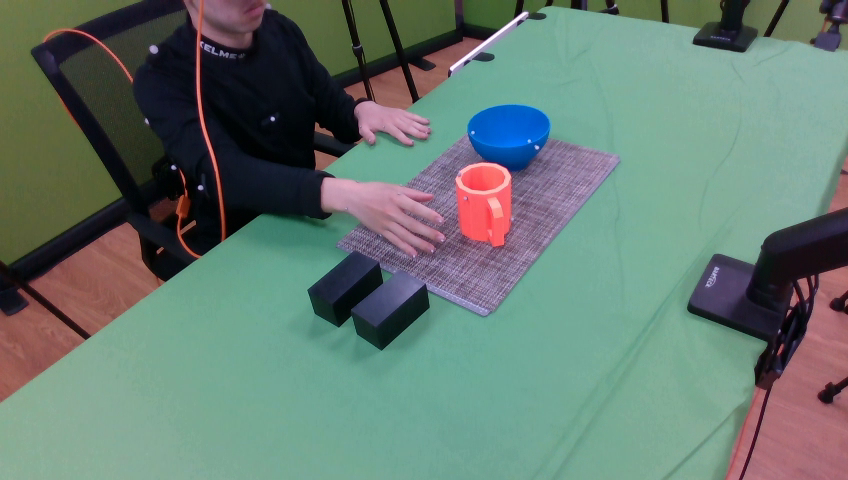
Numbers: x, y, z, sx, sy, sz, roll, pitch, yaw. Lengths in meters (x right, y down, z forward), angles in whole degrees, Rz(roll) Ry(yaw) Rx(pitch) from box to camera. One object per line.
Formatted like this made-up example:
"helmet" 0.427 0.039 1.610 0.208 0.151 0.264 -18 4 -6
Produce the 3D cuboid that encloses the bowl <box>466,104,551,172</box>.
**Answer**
"bowl" 0.155 -0.177 1.105 0.151 0.077 0.150 -4 40 3

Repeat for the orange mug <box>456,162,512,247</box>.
"orange mug" 0.100 -0.050 0.949 0.083 0.101 0.125 -13 37 -6
